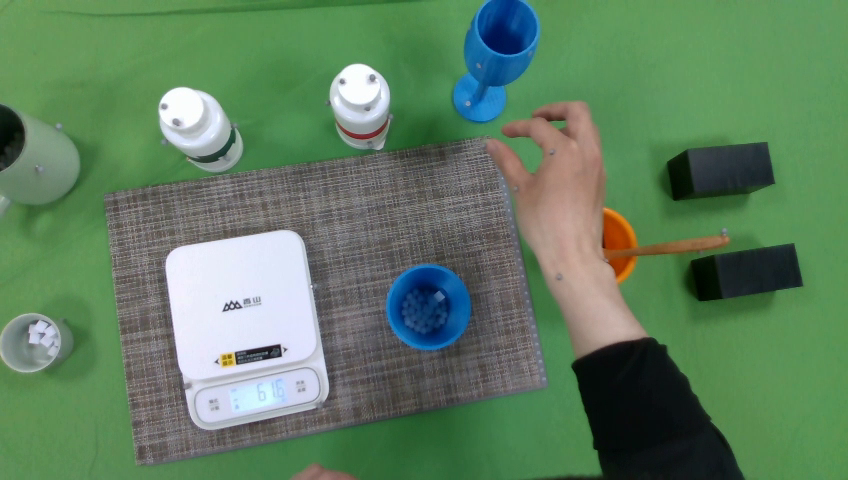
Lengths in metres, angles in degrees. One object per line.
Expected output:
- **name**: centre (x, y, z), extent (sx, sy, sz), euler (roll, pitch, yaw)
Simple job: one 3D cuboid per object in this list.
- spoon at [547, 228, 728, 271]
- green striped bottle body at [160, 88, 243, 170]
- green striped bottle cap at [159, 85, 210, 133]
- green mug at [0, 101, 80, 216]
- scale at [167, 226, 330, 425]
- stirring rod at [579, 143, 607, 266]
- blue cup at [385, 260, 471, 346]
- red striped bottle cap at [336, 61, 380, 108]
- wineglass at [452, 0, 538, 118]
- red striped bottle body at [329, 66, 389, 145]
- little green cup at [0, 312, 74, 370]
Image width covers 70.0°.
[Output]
- **spoon**: centre (0.222, 0.008, 0.651), extent (0.022, 0.193, 0.041), euler (-7, 89, -49)
- **green striped bottle body**: centre (-0.237, -0.119, 0.645), extent (0.063, 0.119, 0.063), euler (1, 82, -4)
- **green striped bottle cap**: centre (-0.233, -0.128, 0.590), extent (0.044, 0.020, 0.044), euler (0, 82, -3)
- **green mug**: centre (-0.434, -0.076, 0.631), extent (0.092, 0.105, 0.125), euler (25, 81, -1)
- **scale**: centre (-0.191, 0.092, 0.661), extent (0.149, 0.031, 0.200), euler (-11, 84, -6)
- **stirring rod**: centre (0.183, -0.032, 0.651), extent (0.014, 0.178, 0.006), euler (2, 47, 24)
- **blue cup**: centre (0.002, 0.068, 0.645), extent (0.093, 0.100, 0.092), euler (0, 83, -3)
- **red striped bottle cap**: centre (-0.066, -0.157, 0.610), extent (0.044, 0.018, 0.044), euler (1, 80, -3)
- **wineglass**: centre (0.071, -0.192, 0.653), extent (0.074, 0.172, 0.073), euler (1, 82, -4)
- **red striped bottle body**: centre (-0.070, -0.150, 0.663), extent (0.063, 0.120, 0.063), euler (1, 82, -4)
- **little green cup**: centre (-0.406, 0.107, 0.641), extent (0.061, 0.038, 0.061), euler (1, 82, -5)
